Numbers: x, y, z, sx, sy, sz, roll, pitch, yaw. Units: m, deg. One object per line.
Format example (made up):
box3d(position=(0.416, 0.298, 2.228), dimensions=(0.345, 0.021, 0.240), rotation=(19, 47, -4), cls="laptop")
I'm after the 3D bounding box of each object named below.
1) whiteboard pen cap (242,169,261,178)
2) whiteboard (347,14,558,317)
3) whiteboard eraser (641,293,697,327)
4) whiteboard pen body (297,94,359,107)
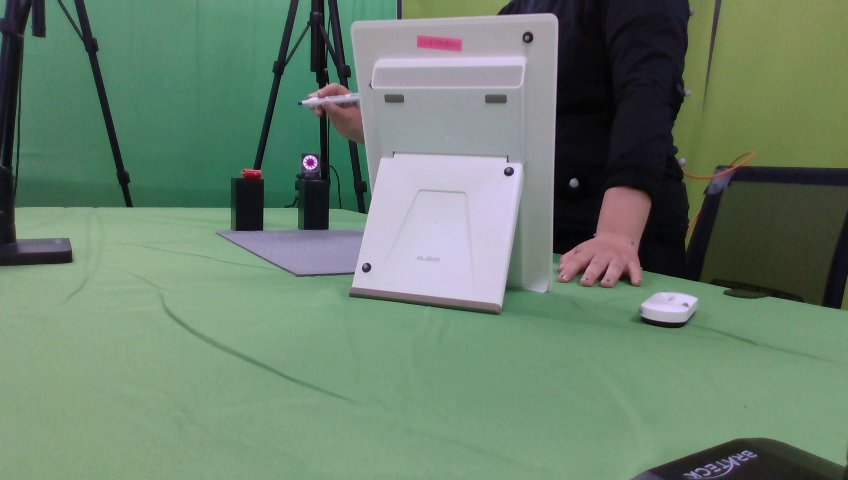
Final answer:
box3d(position=(-0.326, -0.126, 1.144), dimensions=(0.032, 0.017, 0.017), rotation=(0, 8, -36), cls="whiteboard pen cap")
box3d(position=(0.012, -0.056, 0.609), dimensions=(0.216, 0.305, 0.144), rotation=(5, 27, 20), cls="whiteboard")
box3d(position=(0.240, 0.066, 0.590), dimensions=(0.041, 0.019, 0.102), rotation=(6, 7, 31), cls="whiteboard eraser")
box3d(position=(-0.175, -0.269, 1.166), dimensions=(0.141, 0.017, 0.017), rotation=(-13, 13, -23), cls="whiteboard pen body")
